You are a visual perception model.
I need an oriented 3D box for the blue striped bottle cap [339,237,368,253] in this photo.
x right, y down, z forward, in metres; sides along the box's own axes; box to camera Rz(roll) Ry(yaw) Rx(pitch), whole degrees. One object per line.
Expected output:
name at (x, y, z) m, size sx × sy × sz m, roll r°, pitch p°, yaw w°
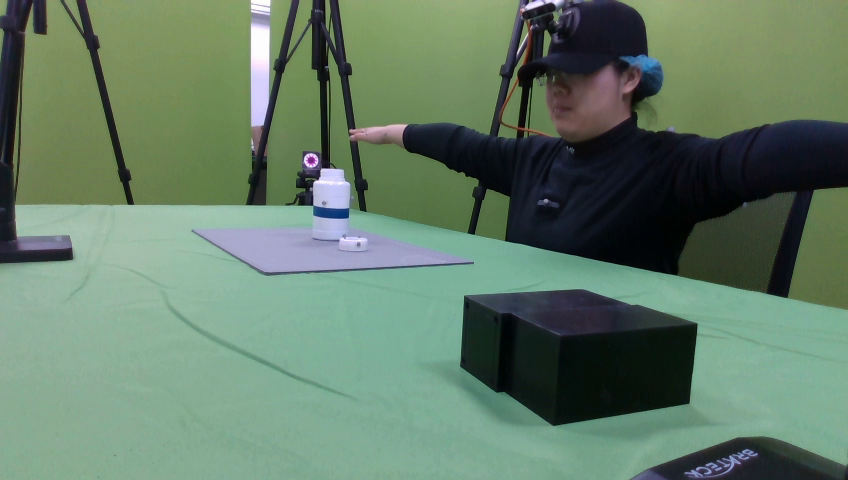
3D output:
blue striped bottle cap at (-0.107, 0.007, 0.920) m, size 0.044 × 0.020 × 0.044 m, roll 1°, pitch 7°, yaw 0°

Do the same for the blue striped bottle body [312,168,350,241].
blue striped bottle body at (-0.157, -0.062, 1.025) m, size 0.063 × 0.120 × 0.063 m, roll 3°, pitch 7°, yaw 0°
